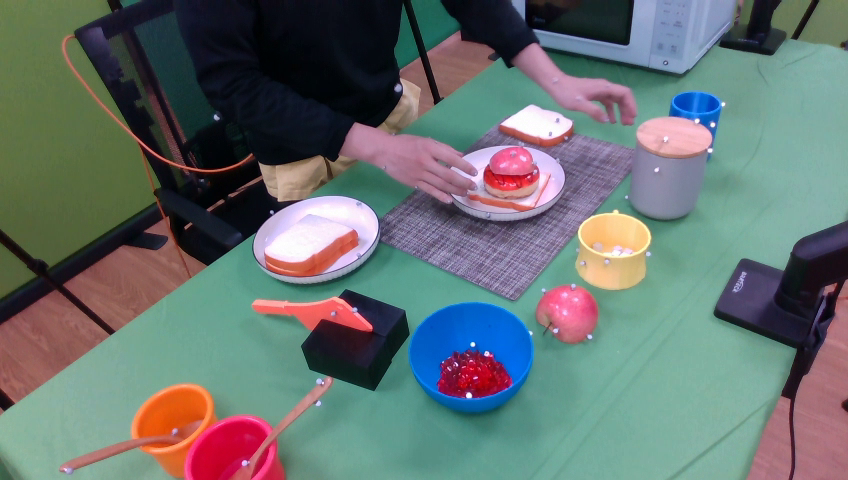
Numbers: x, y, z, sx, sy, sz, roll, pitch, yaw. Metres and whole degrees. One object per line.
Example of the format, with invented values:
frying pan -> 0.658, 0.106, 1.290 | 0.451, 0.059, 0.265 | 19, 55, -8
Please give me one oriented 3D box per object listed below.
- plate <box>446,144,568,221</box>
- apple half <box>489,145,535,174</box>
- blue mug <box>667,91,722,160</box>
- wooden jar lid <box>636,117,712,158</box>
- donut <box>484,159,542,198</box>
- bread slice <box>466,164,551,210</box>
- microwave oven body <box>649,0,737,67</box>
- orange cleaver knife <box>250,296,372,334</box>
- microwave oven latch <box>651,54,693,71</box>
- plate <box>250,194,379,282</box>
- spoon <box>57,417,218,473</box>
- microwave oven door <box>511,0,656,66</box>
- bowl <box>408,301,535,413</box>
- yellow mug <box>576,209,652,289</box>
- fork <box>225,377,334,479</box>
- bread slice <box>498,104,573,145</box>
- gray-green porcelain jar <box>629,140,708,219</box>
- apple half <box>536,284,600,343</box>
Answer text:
plate -> 0.142, -0.096, 1.046 | 0.207, 0.039, 0.206 | -4, 40, 4
apple half -> 0.145, -0.138, 0.995 | 0.081, 0.033, 0.081 | -2, 34, 2
blue mug -> 0.474, -0.207, 1.079 | 0.082, 0.106, 0.116 | 4, 42, 13
wooden jar lid -> 0.377, -0.151, 0.917 | 0.108, 0.021, 0.108 | -2, 42, 3
donut -> 0.149, -0.110, 1.016 | 0.099, 0.048, 0.098 | -4, 41, 4
bread slice -> 0.141, -0.094, 1.041 | 0.133, 0.018, 0.107 | 10, 41, 20
microwave oven body -> 0.475, -0.602, 1.411 | 0.438, 0.261, 0.327 | 23, 50, 32
orange cleaver knife -> -0.159, 0.103, 0.828 | 0.210, 0.078, 0.012 | -4, 43, 39
microwave oven latch -> 0.532, -0.386, 1.301 | 0.078, 0.029, 0.030 | 26, 52, 34
plate -> -0.174, -0.001, 0.984 | 0.209, 0.038, 0.208 | -3, 40, 3
spoon -> -0.304, 0.221, 0.661 | 0.041, 0.195, 0.021 | 19, 92, 27
microwave oven door -> 0.350, -0.539, 1.348 | 0.353, 0.245, 0.039 | 24, 50, 31
bowl -> 0.060, 0.156, 0.739 | 0.151, 0.077, 0.150 | -4, 40, 4
yellow mug -> 0.279, 0.004, 0.893 | 0.099, 0.064, 0.130 | 6, 42, 14
fork -> -0.163, 0.216, 0.646 | 0.207, 0.019, 0.028 | -49, 42, 16
bread slice -> 0.231, -0.231, 1.205 | 0.105, 0.019, 0.130 | -36, 47, -29
gray-green porcelain jar -> 0.383, -0.105, 0.958 | 0.106, 0.127, 0.105 | -4, 41, 4
apple half -> 0.196, 0.091, 0.815 | 0.075, 0.053, 0.080 | -22, 42, -20
